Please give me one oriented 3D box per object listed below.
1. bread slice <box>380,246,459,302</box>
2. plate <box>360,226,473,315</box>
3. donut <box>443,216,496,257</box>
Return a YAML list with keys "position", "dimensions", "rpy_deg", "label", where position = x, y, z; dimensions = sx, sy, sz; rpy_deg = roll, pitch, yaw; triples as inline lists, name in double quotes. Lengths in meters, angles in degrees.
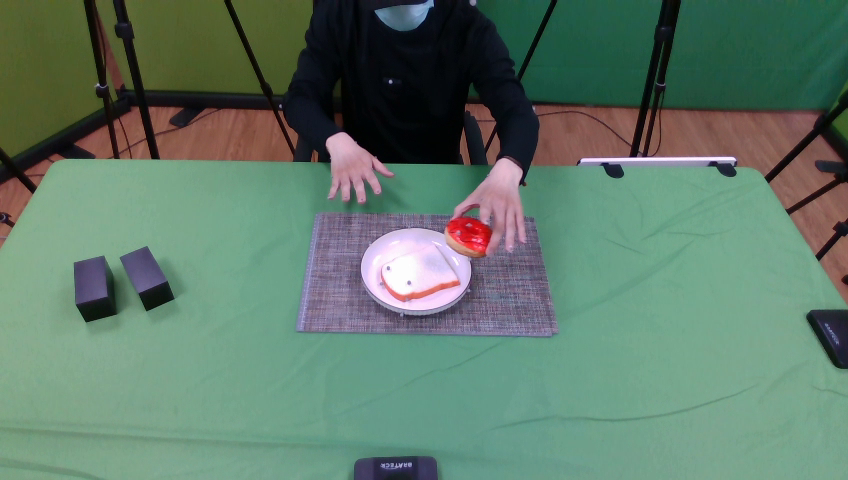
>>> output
- position: [-0.014, 0.064, 1.123]
  dimensions: [0.132, 0.019, 0.104]
  rpy_deg: [-18, 49, -22]
  label: "bread slice"
- position: [-0.013, 0.060, 1.124]
  dimensions: [0.208, 0.039, 0.206]
  rpy_deg: [2, 46, -2]
  label: "plate"
- position: [0.081, -0.005, 1.081]
  dimensions: [0.099, 0.048, 0.098]
  rpy_deg: [14, 31, -8]
  label: "donut"
